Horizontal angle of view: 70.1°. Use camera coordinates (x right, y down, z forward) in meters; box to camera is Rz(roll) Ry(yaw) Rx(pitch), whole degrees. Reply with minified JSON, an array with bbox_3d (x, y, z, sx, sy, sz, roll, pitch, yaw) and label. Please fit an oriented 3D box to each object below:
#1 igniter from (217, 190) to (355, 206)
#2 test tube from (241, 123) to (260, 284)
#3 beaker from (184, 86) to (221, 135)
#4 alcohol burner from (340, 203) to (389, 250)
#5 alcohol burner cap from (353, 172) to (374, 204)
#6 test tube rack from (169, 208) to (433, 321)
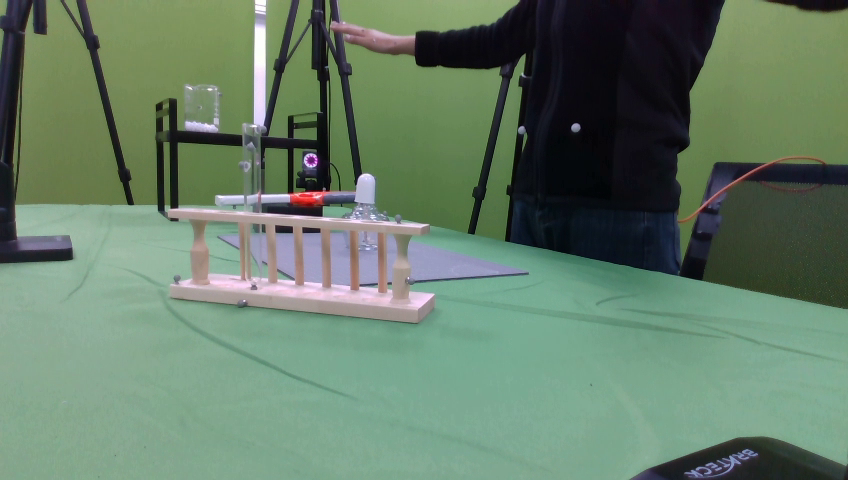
[{"bbox_3d":[-0.248,-0.079,1.152,0.278,0.025,0.057,-4,11,-27],"label":"igniter"},{"bbox_3d":[-0.160,-0.032,0.558,0.017,0.150,0.017,3,13,0],"label":"test tube"},{"bbox_3d":[-0.475,-0.277,1.296,0.074,0.100,0.084,2,8,-1],"label":"beaker"},{"bbox_3d":[-0.093,-0.045,0.939,0.078,0.119,0.078,0,7,0],"label":"alcohol burner"},{"bbox_3d":[-0.092,-0.081,0.936,0.034,0.048,0.034,6,10,-1],"label":"alcohol burner cap"},{"bbox_3d":[-0.115,0.018,0.574,0.242,0.085,0.067,4,8,13],"label":"test tube rack"}]
